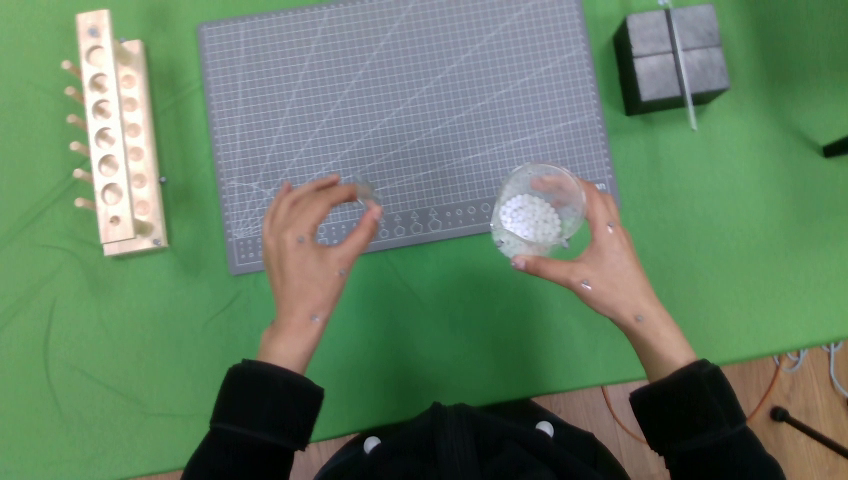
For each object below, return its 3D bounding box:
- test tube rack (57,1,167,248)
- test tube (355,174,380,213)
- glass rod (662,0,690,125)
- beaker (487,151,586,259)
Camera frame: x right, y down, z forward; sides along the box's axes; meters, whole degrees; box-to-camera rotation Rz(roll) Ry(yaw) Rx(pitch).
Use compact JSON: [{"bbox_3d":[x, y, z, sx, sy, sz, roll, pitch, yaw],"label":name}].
[{"bbox_3d":[-0.342,-0.118,0.652,0.067,0.085,0.241,-10,85,-1],"label":"test tube rack"},{"bbox_3d":[-0.050,-0.039,0.550,0.017,0.150,0.017,0,86,-2],"label":"test tube"},{"bbox_3d":[0.271,-0.222,0.662,0.008,0.008,0.199,-8,85,-1],"label":"glass rod"},{"bbox_3d":[0.093,-0.024,0.545,0.084,0.100,0.073,-26,78,-5],"label":"beaker"}]
